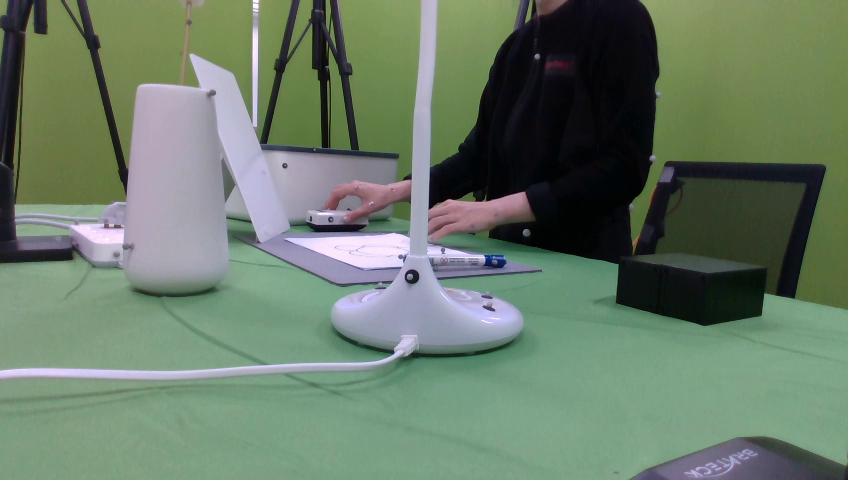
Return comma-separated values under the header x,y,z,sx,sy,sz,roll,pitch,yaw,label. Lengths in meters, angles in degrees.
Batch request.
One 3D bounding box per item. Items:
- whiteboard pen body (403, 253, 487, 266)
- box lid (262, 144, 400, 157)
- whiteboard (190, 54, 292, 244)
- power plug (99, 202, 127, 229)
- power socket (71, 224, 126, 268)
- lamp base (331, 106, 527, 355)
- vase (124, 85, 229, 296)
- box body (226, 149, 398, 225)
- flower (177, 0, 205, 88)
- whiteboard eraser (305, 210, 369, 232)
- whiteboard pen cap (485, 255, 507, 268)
x,y,z,sx,sy,sz,roll,pitch,yaw,label
0.040,0.026,0.785,0.141,0.017,0.017,1,7,-24,whiteboard pen body
-0.263,-0.203,1.369,0.262,0.015,0.373,9,10,39,box lid
-0.364,-0.129,1.028,0.144,0.305,0.217,-18,7,3,whiteboard
-0.415,-0.026,0.848,0.073,0.052,0.035,6,5,-28,power plug
-0.409,0.004,0.793,0.072,0.032,0.225,-2,8,-37,power socket
0.006,-0.012,0.478,0.161,0.180,0.179,2,10,2,lamp base
-0.244,-0.047,0.598,0.098,0.200,0.098,3,8,0,vase
-0.265,-0.129,1.380,0.253,0.160,0.366,8,9,39,box body
-0.243,-0.131,0.609,0.044,0.361,0.038,-5,-12,11,flower
-0.168,-0.037,1.171,0.113,0.042,0.055,-2,7,-34,whiteboard eraser
0.093,0.028,0.810,0.033,0.018,0.018,2,7,-24,whiteboard pen cap
